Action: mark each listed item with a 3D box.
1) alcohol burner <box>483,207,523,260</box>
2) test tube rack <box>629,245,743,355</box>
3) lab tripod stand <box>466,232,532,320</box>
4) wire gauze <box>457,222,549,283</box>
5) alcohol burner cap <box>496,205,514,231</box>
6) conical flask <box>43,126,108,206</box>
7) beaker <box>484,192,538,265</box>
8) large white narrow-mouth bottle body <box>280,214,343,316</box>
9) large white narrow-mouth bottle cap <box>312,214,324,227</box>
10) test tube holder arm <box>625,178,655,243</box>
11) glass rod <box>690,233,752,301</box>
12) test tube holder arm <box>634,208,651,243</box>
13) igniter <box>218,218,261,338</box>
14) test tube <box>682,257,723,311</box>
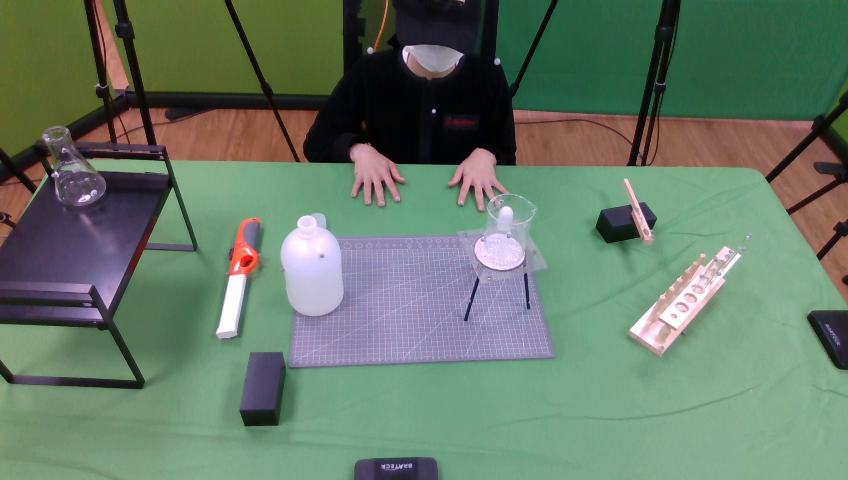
[{"bbox_3d":[0.152,-0.018,1.156,0.078,0.120,0.077,0,47,0],"label":"alcohol burner"},{"bbox_3d":[0.474,0.095,1.091,0.242,0.085,0.066,-34,56,-31],"label":"test tube rack"},{"bbox_3d":[0.125,0.059,1.065,0.148,0.132,0.147,1,45,0],"label":"lab tripod stand"},{"bbox_3d":[0.131,0.016,1.017,0.121,0.011,0.124,-10,44,-16],"label":"wire gauze"},{"bbox_3d":[0.153,-0.044,1.131,0.034,0.048,0.033,2,40,-1],"label":"alcohol burner cap"},{"bbox_3d":[-0.555,-0.119,0.953,0.075,0.122,0.075,2,46,-2],"label":"conical flask"},{"bbox_3d":[0.137,-0.016,0.980,0.084,0.101,0.073,-6,45,-9],"label":"beaker"},{"bbox_3d":[-0.190,0.035,1.025,0.102,0.195,0.101,2,46,-2],"label":"large white narrow-mouth bottle body"},{"bbox_3d":[-0.219,-0.033,1.214,0.038,0.024,0.037,2,46,-2],"label":"large white narrow-mouth bottle cap"},{"bbox_3d":[0.433,-0.062,1.220,0.013,0.015,0.177,1,47,-3],"label":"test tube holder arm"},{"bbox_3d":[0.507,0.053,1.041,0.008,0.200,0.008,5,50,-6],"label":"glass rod"},{"bbox_3d":[0.428,-0.030,1.189,0.010,0.015,0.087,1,47,-2],"label":"test tube holder arm"},{"bbox_3d":[-0.336,0.060,1.111,0.057,0.025,0.274,-8,46,4],"label":"igniter"},{"bbox_3d":[0.474,0.080,1.037,0.017,0.151,0.017,1,50,-1],"label":"test tube"}]
